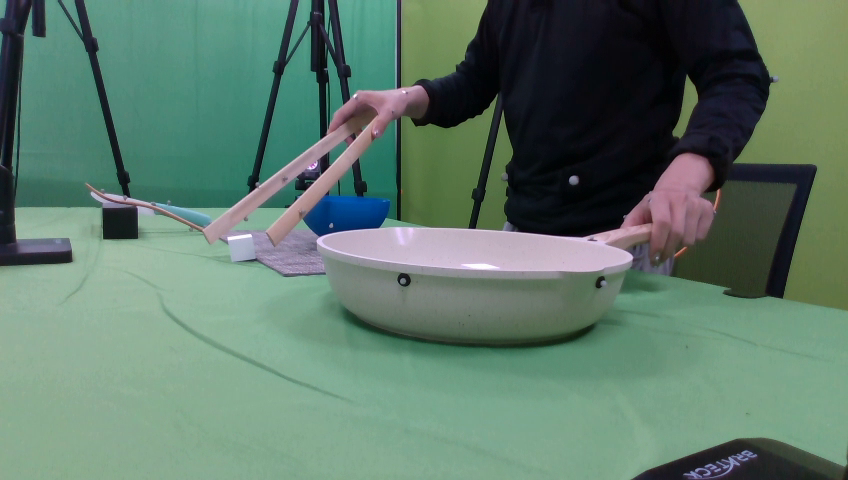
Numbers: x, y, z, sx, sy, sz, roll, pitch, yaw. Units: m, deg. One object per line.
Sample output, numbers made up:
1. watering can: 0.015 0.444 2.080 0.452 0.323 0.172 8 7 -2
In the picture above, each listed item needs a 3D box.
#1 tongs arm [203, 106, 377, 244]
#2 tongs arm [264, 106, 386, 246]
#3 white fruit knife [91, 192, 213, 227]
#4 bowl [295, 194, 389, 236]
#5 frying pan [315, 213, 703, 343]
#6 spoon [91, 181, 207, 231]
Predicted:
1. tongs arm: -0.193 -0.114 0.956 0.050 0.026 0.385 1 36 35
2. tongs arm: -0.136 -0.113 0.921 0.028 0.028 0.388 -8 32 30
3. white fruit knife: -0.477 -0.055 1.077 0.208 0.027 0.016 15 -5 -30
4. bowl: -0.132 -0.032 0.980 0.151 0.077 0.151 2 7 0
5. frying pan: 0.133 0.014 0.629 0.490 0.102 0.305 -11 14 -29
6. spoon: -0.461 -0.053 1.023 0.195 0.021 0.041 21 22 -24
